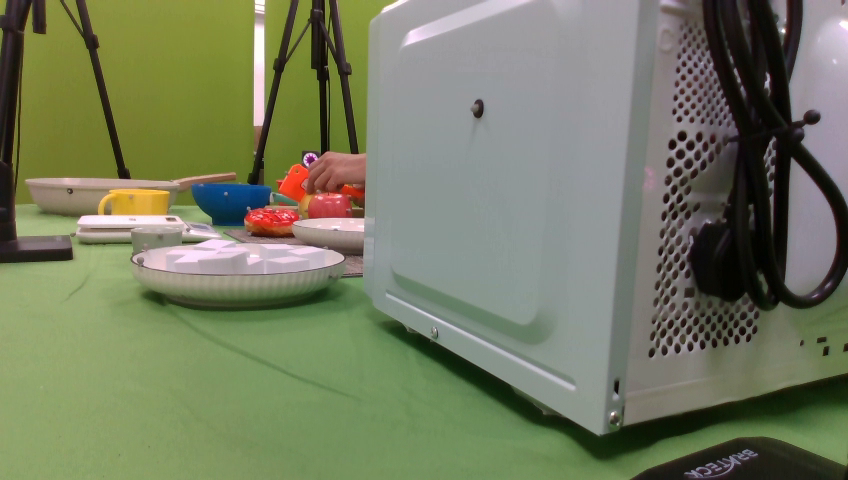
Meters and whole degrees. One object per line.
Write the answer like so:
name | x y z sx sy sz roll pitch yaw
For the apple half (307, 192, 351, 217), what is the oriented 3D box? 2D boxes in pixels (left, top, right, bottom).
apple half | -0.174 -0.049 1.087 0.081 0.074 0.053 6 11 2

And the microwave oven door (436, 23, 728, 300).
microwave oven door | 0.180 -0.073 0.621 0.358 0.243 0.039 -2 9 -29

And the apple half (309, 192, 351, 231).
apple half | -0.173 -0.055 1.126 0.081 0.081 0.033 2 11 2

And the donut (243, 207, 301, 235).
donut | -0.261 -0.032 1.043 0.099 0.048 0.099 4 9 0

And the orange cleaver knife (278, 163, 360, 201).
orange cleaver knife | -0.193 -0.097 1.236 0.212 0.077 0.012 15 5 -33

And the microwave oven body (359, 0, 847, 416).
microwave oven body | 0.211 -0.047 0.474 0.444 0.260 0.324 -1 7 -28

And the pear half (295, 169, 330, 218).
pear half | -0.211 -0.084 1.199 0.055 0.110 0.077 24 28 39

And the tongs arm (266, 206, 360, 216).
tongs arm | -0.173 -0.061 1.362 0.387 0.026 0.050 -1 3 -31

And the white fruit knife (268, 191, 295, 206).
white fruit knife | -0.364 -0.105 1.464 0.208 0.027 0.016 15 -1 -34

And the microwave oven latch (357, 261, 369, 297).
microwave oven latch | -0.019 0.033 0.530 0.079 0.029 0.030 -1 7 -26

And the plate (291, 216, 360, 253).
plate | -0.103 -0.009 0.945 0.209 0.038 0.209 2 8 0

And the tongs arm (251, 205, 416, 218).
tongs arm | -0.211 -0.067 1.440 0.389 0.027 0.028 0 -1 -17

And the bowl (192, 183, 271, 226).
bowl | -0.382 -0.070 1.202 0.151 0.077 0.151 3 7 0

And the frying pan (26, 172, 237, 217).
frying pan | -0.624 -0.118 1.387 0.305 0.102 0.490 8 17 32

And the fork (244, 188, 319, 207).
fork | -0.356 -0.105 1.526 0.208 0.018 0.028 16 -6 -41

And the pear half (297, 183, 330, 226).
pear half | -0.230 -0.073 1.235 0.071 0.088 0.031 -8 6 -39

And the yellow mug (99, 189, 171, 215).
yellow mug | -0.519 -0.055 1.080 0.099 0.064 0.131 6 9 26

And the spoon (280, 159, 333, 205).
spoon | -0.316 -0.159 1.640 0.194 0.022 0.041 -50 32 -20

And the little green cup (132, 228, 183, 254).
little green cup | -0.342 0.006 0.779 0.061 0.038 0.061 2 8 0

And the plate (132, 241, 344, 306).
plate | -0.187 0.033 0.625 0.208 0.039 0.207 2 7 0

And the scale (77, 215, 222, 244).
scale | -0.434 -0.019 0.963 0.202 0.031 0.148 -1 9 -27
